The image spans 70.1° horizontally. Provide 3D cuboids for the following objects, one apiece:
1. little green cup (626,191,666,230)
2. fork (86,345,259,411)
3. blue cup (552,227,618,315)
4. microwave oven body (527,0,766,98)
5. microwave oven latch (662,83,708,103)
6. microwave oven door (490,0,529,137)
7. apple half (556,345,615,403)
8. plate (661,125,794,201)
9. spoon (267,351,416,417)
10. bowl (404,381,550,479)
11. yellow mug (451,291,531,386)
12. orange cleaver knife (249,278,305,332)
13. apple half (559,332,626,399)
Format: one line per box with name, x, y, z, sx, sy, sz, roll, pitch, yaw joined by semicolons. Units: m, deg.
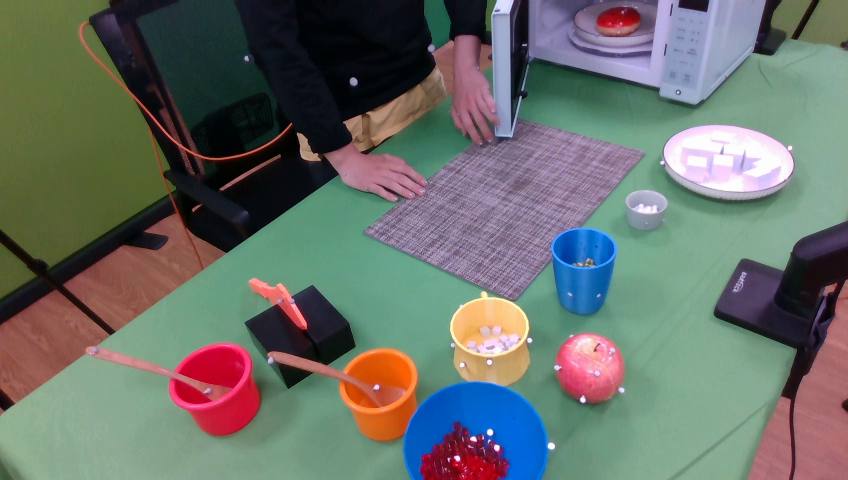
little green cup;0.352;-0.046;0.963;0.061;0.039;0.061;-4;40;4
fork;-0.298;0.167;0.728;0.209;0.018;0.028;28;46;-23
blue cup;0.218;0.047;0.825;0.092;0.100;0.092;-6;40;5
microwave oven body;0.472;-0.513;1.317;0.438;0.261;0.327;26;51;34
microwave oven latch;0.518;-0.296;1.204;0.078;0.029;0.030;27;52;35
microwave oven door;0.179;-0.407;1.229;0.039;0.245;0.355;4;42;14
apple half;0.181;0.167;0.709;0.080;0.081;0.033;30;50;35
plate;0.513;-0.128;1.035;0.207;0.039;0.206;-4;40;4
spoon;-0.091;0.163;0.699;0.021;0.195;0.041;-44;30;27
bowl;0.058;0.235;0.645;0.151;0.077;0.150;-4;39;4
yellow mug;0.085;0.120;0.786;0.100;0.064;0.130;-7;39;1
orange cleaver knife;-0.210;0.089;0.855;0.012;0.077;0.210;-28;15;-25
apple half;0.209;0.147;0.730;0.080;0.075;0.053;26;48;38
